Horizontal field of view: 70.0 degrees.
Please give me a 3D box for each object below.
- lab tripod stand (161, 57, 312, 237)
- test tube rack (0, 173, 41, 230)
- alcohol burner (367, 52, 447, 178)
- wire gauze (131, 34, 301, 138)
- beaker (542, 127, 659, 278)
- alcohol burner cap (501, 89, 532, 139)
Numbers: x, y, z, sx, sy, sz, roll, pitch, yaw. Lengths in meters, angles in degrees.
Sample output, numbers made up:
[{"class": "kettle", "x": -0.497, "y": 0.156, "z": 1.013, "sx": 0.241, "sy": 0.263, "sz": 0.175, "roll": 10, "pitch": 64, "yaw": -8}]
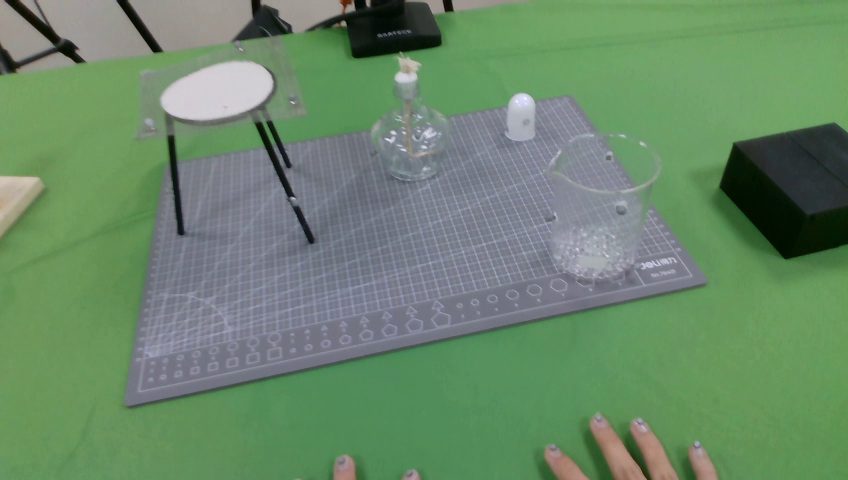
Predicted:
[{"class": "lab tripod stand", "x": -0.163, "y": -0.076, "z": 0.525, "sx": 0.148, "sy": 0.133, "sz": 0.147, "roll": -3, "pitch": 47, "yaw": 3}, {"class": "test tube rack", "x": -0.445, "y": -0.006, "z": 0.517, "sx": 0.066, "sy": 0.086, "sz": 0.240, "roll": 3, "pitch": 45, "yaw": 7}, {"class": "alcohol burner", "x": -0.018, "y": -0.120, "z": 0.572, "sx": 0.078, "sy": 0.120, "sz": 0.077, "roll": -3, "pitch": 43, "yaw": 3}, {"class": "wire gauze", "x": -0.168, "y": -0.123, "z": 0.478, "sx": 0.125, "sy": 0.011, "sz": 0.120, "roll": -15, "pitch": 46, "yaw": -9}, {"class": "beaker", "x": 0.132, "y": -0.026, "z": 0.475, "sx": 0.084, "sy": 0.101, "sz": 0.073, "roll": -3, "pitch": 45, "yaw": 4}, {"class": "alcohol burner cap", "x": 0.096, "y": -0.133, "z": 0.627, "sx": 0.034, "sy": 0.048, "sz": 0.033, "roll": -3, "pitch": 45, "yaw": 3}]
